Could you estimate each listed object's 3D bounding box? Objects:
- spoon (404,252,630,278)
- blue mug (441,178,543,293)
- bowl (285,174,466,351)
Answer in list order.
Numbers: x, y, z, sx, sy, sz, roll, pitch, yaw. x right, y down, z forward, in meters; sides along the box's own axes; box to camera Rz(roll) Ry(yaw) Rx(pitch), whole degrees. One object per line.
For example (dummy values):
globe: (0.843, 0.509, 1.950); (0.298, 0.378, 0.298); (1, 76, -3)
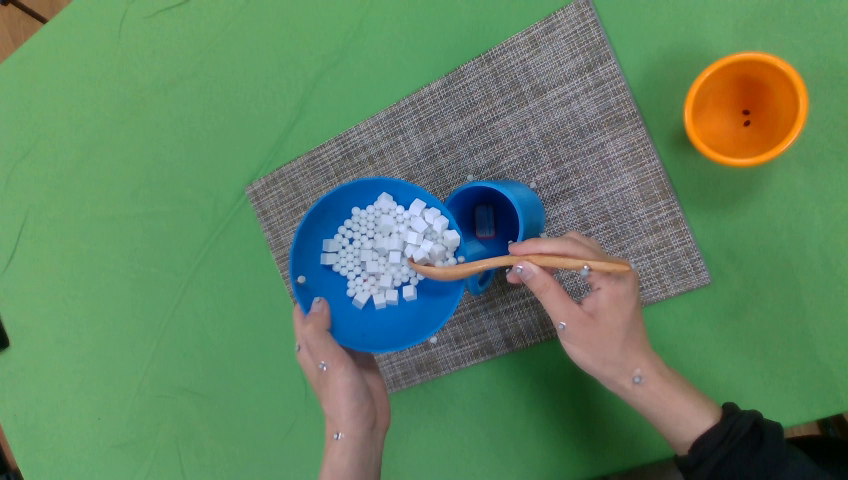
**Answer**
spoon: (0.062, 0.017, 0.468); (0.193, 0.042, 0.021); (-5, 77, 38)
blue mug: (0.063, -0.004, 0.595); (0.082, 0.106, 0.117); (17, 103, 18)
bowl: (-0.043, 0.024, 0.540); (0.152, 0.077, 0.151); (1, 80, -7)
